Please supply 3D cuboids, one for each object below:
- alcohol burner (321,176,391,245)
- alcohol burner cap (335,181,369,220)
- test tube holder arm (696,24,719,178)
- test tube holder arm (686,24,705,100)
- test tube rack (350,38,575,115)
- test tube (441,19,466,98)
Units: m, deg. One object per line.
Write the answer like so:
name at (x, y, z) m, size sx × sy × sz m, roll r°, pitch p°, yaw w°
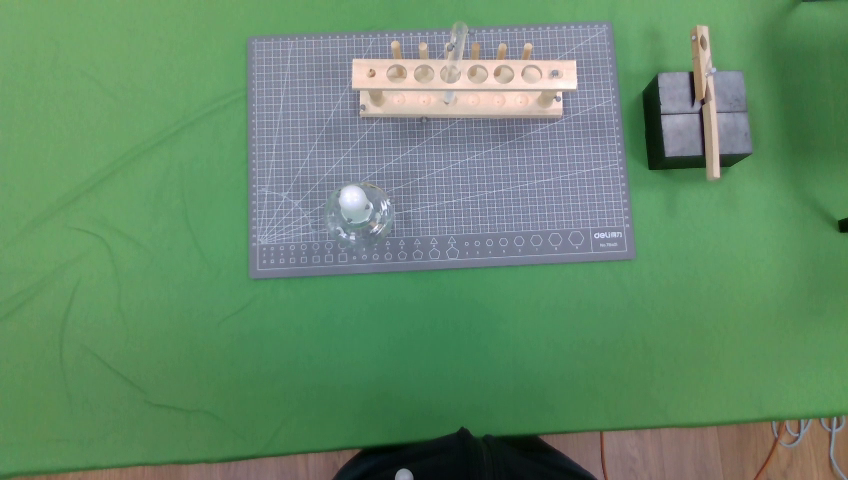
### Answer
alcohol burner at (-0.075, -0.036, 0.655) m, size 0.078 × 0.119 × 0.077 m, roll 0°, pitch 79°, yaw -2°
alcohol burner cap at (-0.075, -0.042, 0.620) m, size 0.034 × 0.048 × 0.033 m, roll 0°, pitch 75°, yaw 2°
test tube holder arm at (0.318, -0.158, 0.684) m, size 0.013 × 0.015 × 0.178 m, roll -2°, pitch 82°, yaw -9°
test tube holder arm at (0.310, -0.202, 0.689) m, size 0.010 × 0.015 × 0.087 m, roll -1°, pitch 82°, yaw -8°
test tube rack at (0.042, -0.191, 0.696) m, size 0.242 × 0.085 × 0.066 m, roll 0°, pitch 81°, yaw -1°
test tube at (0.029, -0.188, 0.644) m, size 0.017 × 0.150 × 0.017 m, roll 0°, pitch 78°, yaw -2°
